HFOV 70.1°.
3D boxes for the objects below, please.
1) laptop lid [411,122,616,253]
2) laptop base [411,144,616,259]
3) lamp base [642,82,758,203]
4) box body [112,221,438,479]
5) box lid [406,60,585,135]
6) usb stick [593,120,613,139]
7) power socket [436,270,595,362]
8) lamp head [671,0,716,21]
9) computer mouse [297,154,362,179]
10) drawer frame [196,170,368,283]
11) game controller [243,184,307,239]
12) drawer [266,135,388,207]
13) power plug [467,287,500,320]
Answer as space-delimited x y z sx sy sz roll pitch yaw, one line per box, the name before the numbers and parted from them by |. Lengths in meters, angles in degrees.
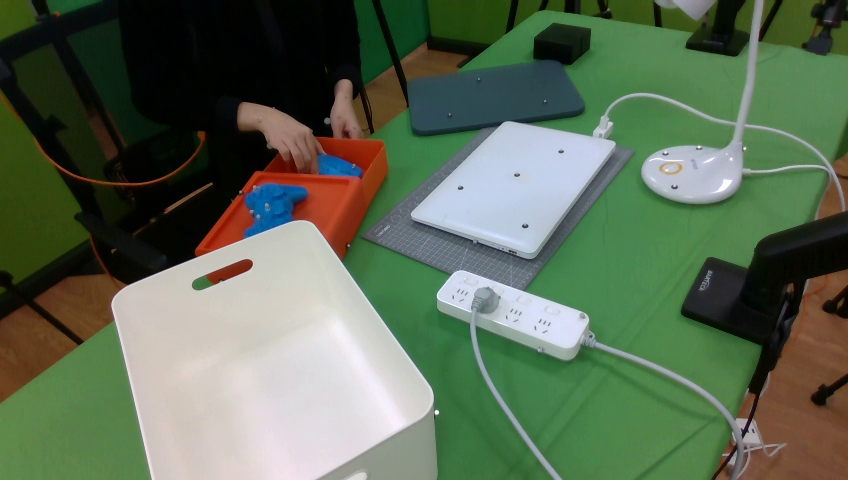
laptop lid | 0.165 -0.111 1.067 0.240 0.013 0.357 19 46 31
laptop base | 0.168 -0.101 1.073 0.234 0.023 0.355 17 46 30
lamp base | 0.464 -0.174 0.992 0.179 0.181 0.159 -5 41 -1
box body | -0.170 0.168 0.693 0.255 0.161 0.360 -25 43 -19
box lid | 0.150 -0.320 1.340 0.372 0.015 0.261 -8 40 0
usb stick | 0.336 -0.201 1.147 0.021 0.027 0.059 26 53 26
power socket | 0.118 0.101 0.832 0.225 0.033 0.072 19 48 27
lamp head | 0.375 -0.373 0.807 0.122 0.113 0.112 -40 27 32
computer mouse | -0.173 -0.123 1.099 0.116 0.041 0.063 15 44 18
drawer frame | -0.220 -0.020 0.984 0.201 0.083 0.213 5 42 13
game controller | -0.227 -0.039 0.928 0.097 0.052 0.154 -15 40 -4
drawer | -0.189 -0.100 1.078 0.194 0.073 0.211 6 42 15
power plug | 0.073 0.092 0.813 0.035 0.053 0.073 29 54 34
